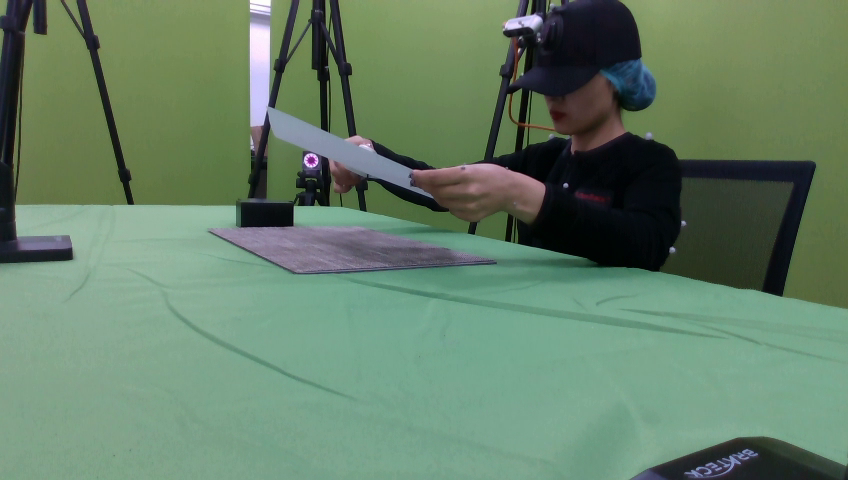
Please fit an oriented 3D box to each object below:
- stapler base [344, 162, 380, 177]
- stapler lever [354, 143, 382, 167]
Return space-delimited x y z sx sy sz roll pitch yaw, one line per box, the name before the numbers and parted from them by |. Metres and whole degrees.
stapler base | -0.102 -0.127 1.045 0.041 0.024 0.130 27 7 4
stapler lever | -0.094 -0.145 1.044 0.027 0.040 0.118 27 12 4
